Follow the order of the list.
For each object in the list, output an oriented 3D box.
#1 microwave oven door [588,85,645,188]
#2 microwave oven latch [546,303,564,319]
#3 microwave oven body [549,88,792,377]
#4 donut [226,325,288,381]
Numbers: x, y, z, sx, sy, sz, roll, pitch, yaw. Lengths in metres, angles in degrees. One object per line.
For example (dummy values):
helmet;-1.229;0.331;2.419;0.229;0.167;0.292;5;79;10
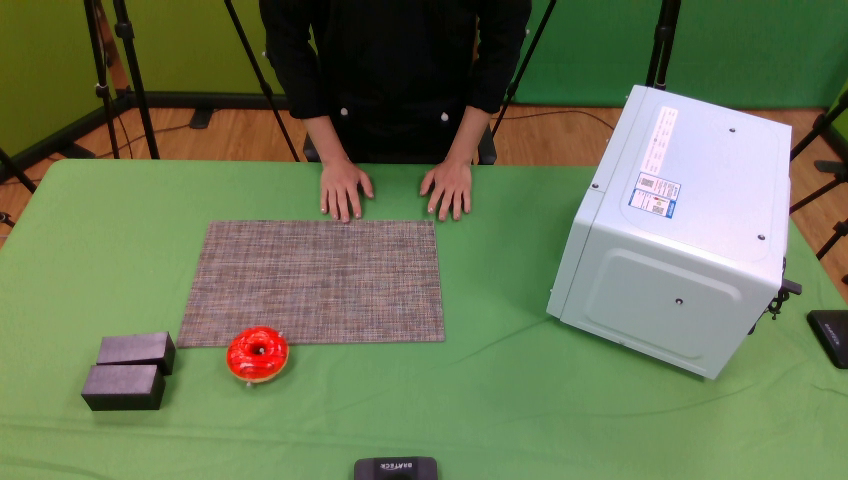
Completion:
microwave oven door;0.342;-0.107;1.149;0.039;0.245;0.354;20;48;15
microwave oven latch;0.242;0.102;1.081;0.030;0.029;0.079;22;48;17
microwave oven body;0.456;-0.028;1.088;0.325;0.261;0.440;20;47;16
donut;-0.270;0.182;0.984;0.099;0.048;0.098;5;49;-5
